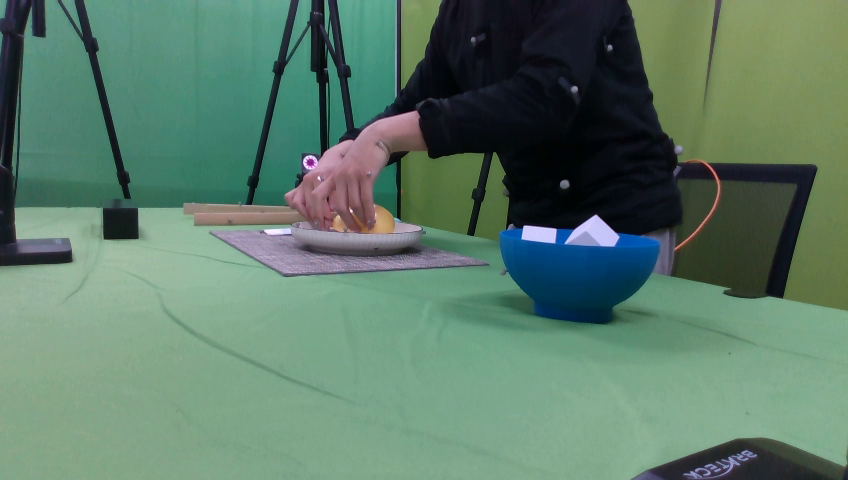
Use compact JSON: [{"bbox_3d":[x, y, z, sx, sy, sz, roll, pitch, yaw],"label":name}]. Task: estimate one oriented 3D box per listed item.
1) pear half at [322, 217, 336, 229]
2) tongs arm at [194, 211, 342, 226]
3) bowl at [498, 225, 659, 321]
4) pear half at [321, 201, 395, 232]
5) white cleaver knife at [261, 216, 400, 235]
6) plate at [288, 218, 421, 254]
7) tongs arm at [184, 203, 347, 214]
[{"bbox_3d":[-0.123,-0.027,1.006,0.088,0.031,0.070,20,1,5],"label":"pear half"},{"bbox_3d":[-0.298,-0.049,1.307,0.390,0.028,0.028,-3,8,-37],"label":"tongs arm"},{"bbox_3d":[0.145,0.032,0.585,0.151,0.077,0.151,2,7,0],"label":"bowl"},{"bbox_3d":[-0.098,-0.033,0.910,0.110,0.056,0.076,9,26,-25],"label":"pear half"},{"bbox_3d":[-0.168,-0.023,1.155,0.288,0.021,0.065,-7,16,-33],"label":"white cleaver knife"},{"bbox_3d":[-0.109,-0.007,0.956,0.208,0.039,0.207,2,7,0],"label":"plate"},{"bbox_3d":[-0.337,-0.065,1.376,0.387,0.026,0.050,0,9,-25],"label":"tongs arm"}]
